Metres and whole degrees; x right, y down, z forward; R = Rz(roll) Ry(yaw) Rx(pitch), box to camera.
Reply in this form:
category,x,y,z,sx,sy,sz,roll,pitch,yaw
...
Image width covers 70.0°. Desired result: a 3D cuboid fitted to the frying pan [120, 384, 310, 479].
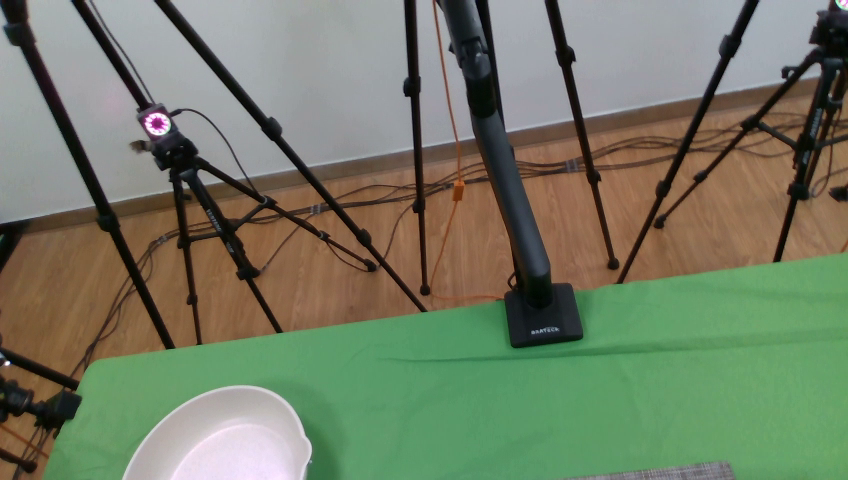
category,x,y,z,sx,sy,sz,roll,pitch,yaw
frying pan,-0.296,0.424,0.830,0.307,0.104,0.482,-15,38,3
